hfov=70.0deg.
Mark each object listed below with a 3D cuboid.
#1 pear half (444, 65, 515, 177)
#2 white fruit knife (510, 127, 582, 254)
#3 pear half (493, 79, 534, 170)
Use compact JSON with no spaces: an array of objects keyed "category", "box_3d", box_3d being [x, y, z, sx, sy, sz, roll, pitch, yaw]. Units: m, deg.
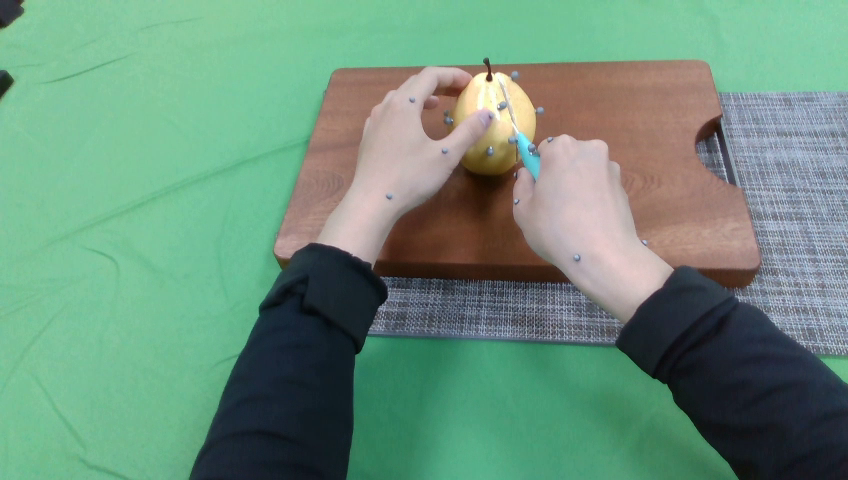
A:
[{"category":"pear half","box_3d":[0.044,-0.103,0.528,0.056,0.111,0.075,-23,51,-8]},{"category":"white fruit knife","box_3d":[0.080,-0.072,0.500,0.016,0.028,0.205,-18,51,-5]},{"category":"pear half","box_3d":[0.080,-0.106,0.539,0.031,0.089,0.069,-20,48,-10]}]
